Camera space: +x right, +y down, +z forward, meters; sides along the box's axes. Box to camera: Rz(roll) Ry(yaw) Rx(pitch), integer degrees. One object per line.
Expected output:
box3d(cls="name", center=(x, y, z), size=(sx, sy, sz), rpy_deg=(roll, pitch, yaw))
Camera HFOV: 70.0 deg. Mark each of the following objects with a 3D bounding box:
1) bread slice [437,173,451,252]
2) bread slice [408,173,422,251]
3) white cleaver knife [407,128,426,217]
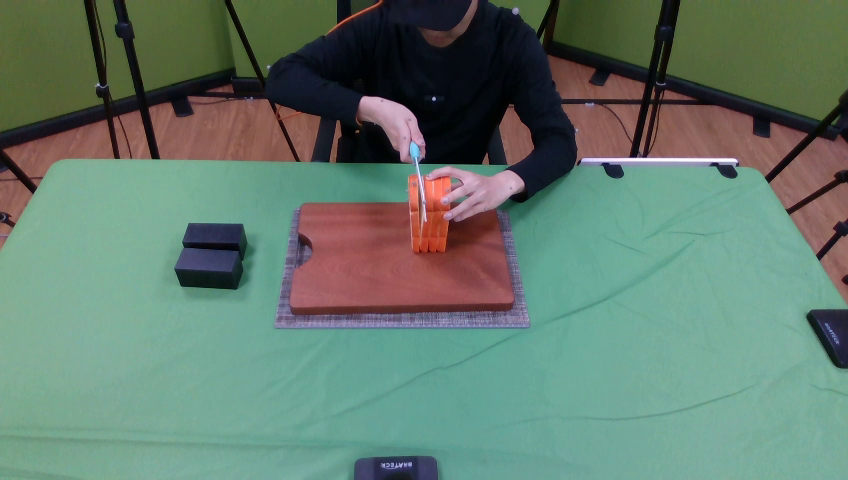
box3d(cls="bread slice", center=(0.038, -0.056, 1.137), size=(0.018, 0.135, 0.106), rpy_deg=(0, 49, -3))
box3d(cls="bread slice", center=(-0.017, -0.059, 1.136), size=(0.019, 0.132, 0.104), rpy_deg=(-5, 45, 0))
box3d(cls="white cleaver knife", center=(-0.014, -0.130, 1.147), size=(0.021, 0.066, 0.284), rpy_deg=(-4, 35, -2))
